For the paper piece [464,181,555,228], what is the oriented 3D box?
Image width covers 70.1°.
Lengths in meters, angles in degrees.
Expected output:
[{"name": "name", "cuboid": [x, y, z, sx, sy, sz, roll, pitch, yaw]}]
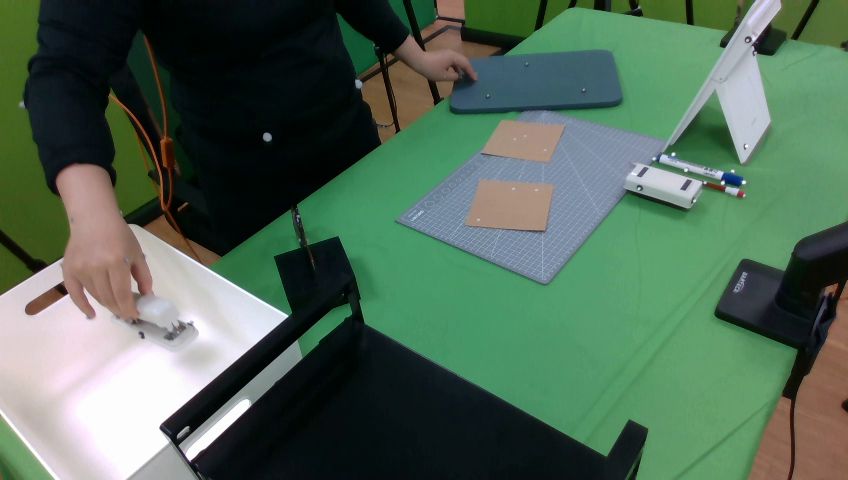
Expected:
[{"name": "paper piece", "cuboid": [0.149, -0.062, 1.034, 0.137, 0.009, 0.136, 4, 37, 17]}]

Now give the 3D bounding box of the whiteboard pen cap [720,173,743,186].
[{"name": "whiteboard pen cap", "cuboid": [0.519, -0.103, 1.020, 0.033, 0.018, 0.018, 23, 49, 30]}]

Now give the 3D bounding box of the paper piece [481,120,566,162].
[{"name": "paper piece", "cuboid": [0.197, -0.198, 1.188, 0.135, 0.004, 0.135, 10, 45, 22]}]

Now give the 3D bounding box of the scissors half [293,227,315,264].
[{"name": "scissors half", "cuboid": [-0.188, 0.007, 0.954, 0.013, 0.040, 0.174, -22, 22, -12]}]

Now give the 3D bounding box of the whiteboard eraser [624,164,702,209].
[{"name": "whiteboard eraser", "cuboid": [0.396, -0.087, 1.003, 0.112, 0.042, 0.056, 22, 47, 31]}]

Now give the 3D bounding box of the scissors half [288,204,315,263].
[{"name": "scissors half", "cuboid": [-0.191, -0.010, 0.944, 0.013, 0.040, 0.173, -18, 38, -15]}]

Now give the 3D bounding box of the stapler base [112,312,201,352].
[{"name": "stapler base", "cuboid": [-0.339, 0.101, 0.758, 0.129, 0.024, 0.041, 14, 44, 27]}]

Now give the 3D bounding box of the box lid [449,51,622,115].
[{"name": "box lid", "cuboid": [0.250, -0.358, 1.370, 0.371, 0.015, 0.262, -1, 40, 9]}]

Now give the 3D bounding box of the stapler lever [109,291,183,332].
[{"name": "stapler lever", "cuboid": [-0.344, 0.082, 0.742, 0.117, 0.040, 0.027, 14, 44, 26]}]

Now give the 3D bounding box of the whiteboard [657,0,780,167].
[{"name": "whiteboard", "cuboid": [0.571, -0.272, 1.038, 0.143, 0.306, 0.218, 37, 54, 17]}]

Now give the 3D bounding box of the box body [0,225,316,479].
[{"name": "box body", "cuboid": [-0.339, 0.162, 0.728, 0.361, 0.161, 0.255, 23, 48, 31]}]

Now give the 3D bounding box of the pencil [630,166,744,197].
[{"name": "pencil", "cuboid": [0.447, -0.103, 1.039, 0.192, 0.012, 0.012, 21, 48, 30]}]

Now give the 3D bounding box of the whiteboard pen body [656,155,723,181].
[{"name": "whiteboard pen body", "cuboid": [0.475, -0.123, 1.052, 0.139, 0.017, 0.017, 24, 50, 32]}]
